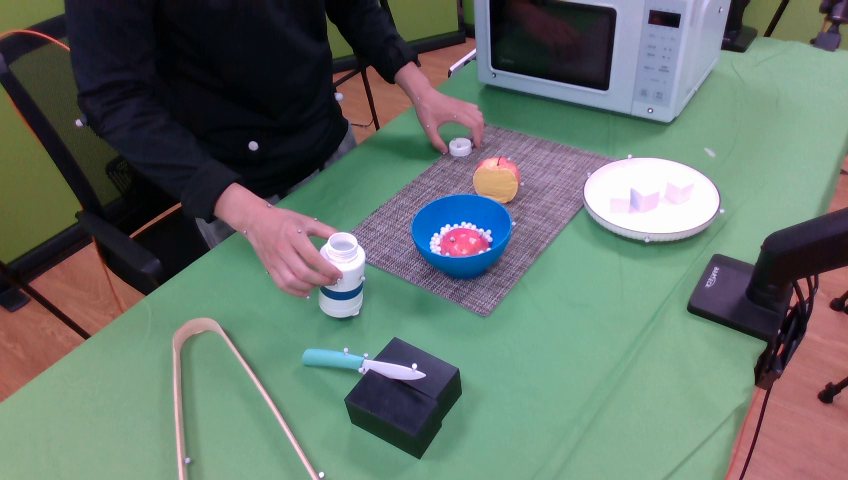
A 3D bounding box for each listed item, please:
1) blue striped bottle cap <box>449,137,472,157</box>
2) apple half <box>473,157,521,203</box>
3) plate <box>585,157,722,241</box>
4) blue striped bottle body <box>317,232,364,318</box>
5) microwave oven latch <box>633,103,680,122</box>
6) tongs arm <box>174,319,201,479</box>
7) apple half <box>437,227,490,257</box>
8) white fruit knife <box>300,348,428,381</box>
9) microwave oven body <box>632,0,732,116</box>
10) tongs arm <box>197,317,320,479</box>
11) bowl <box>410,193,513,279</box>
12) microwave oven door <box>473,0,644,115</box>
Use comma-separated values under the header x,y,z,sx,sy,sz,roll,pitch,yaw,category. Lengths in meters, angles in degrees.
x,y,z,sx,sy,sz,roll,pitch,yaw,category
0.071,-0.180,1.168,0.044,0.021,0.044,-5,44,5,blue striped bottle cap
0.128,-0.107,1.030,0.080,0.075,0.053,4,38,19,apple half
0.367,-0.063,0.979,0.207,0.039,0.206,-4,40,4,plate
-0.115,0.045,0.827,0.063,0.121,0.063,5,42,-4,blue striped bottle body
0.444,-0.249,1.158,0.078,0.029,0.030,21,49,30,microwave oven latch
-0.272,0.234,0.723,0.051,0.026,0.381,-19,40,-15,tongs arm
0.056,0.001,0.902,0.081,0.033,0.081,-3,41,3,apple half
-0.080,0.154,0.748,0.206,0.027,0.016,1,20,34,white fruit knife
0.377,-0.463,1.267,0.438,0.261,0.327,21,49,30,microwave oven body
-0.199,0.207,0.750,0.028,0.028,0.384,-31,45,-22,tongs arm
0.058,0.005,0.905,0.151,0.077,0.150,-4,40,4,bowl
0.257,-0.396,1.199,0.353,0.245,0.039,21,48,29,microwave oven door
